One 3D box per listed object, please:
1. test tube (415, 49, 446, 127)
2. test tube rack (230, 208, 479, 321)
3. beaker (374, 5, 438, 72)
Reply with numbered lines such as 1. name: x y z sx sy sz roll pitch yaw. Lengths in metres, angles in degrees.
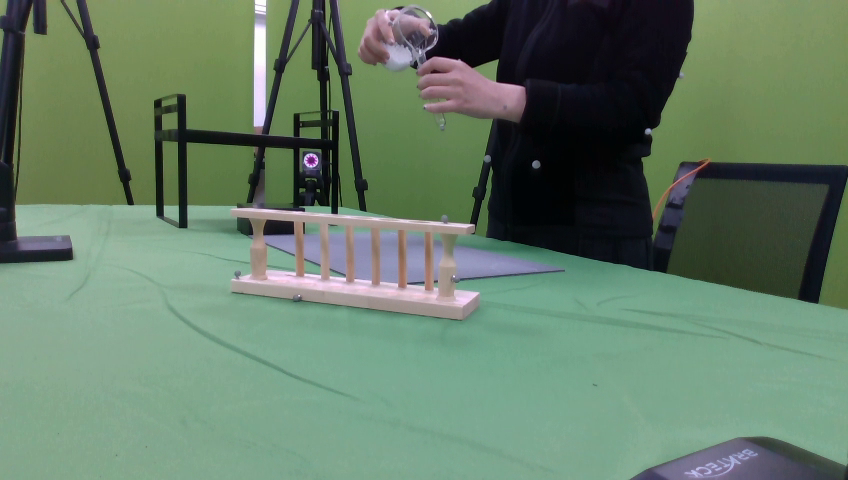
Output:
1. test tube: 0.010 -0.235 0.931 0.017 0.149 0.017 -12 -27 -6
2. test tube rack: -0.069 0.017 0.598 0.242 0.085 0.067 5 8 18
3. beaker: -0.033 -0.329 1.007 0.074 0.084 0.100 -2 -7 -30
